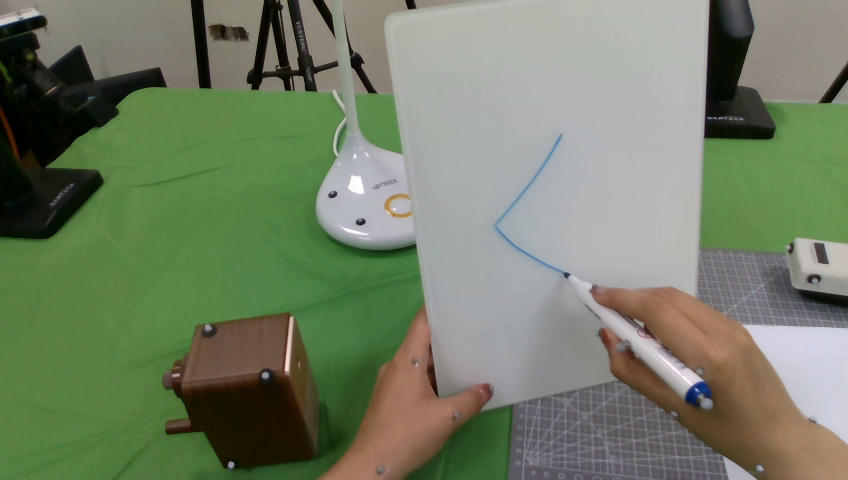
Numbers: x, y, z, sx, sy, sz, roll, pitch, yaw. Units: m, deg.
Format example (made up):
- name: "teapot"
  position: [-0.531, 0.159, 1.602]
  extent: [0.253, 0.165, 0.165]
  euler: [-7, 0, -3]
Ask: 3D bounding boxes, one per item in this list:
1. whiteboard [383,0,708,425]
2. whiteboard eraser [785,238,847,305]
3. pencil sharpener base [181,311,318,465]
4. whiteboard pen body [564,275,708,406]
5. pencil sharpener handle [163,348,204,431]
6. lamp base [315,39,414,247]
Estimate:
- name: "whiteboard"
  position: [0.089, -0.038, 0.496]
  extent: [0.217, 0.307, 0.142]
  euler: [-11, 22, -6]
- name: "whiteboard eraser"
  position: [0.389, 0.032, 0.542]
  extent: [0.112, 0.042, 0.055]
  euler: [10, 43, 16]
- name: "pencil sharpener base"
  position: [-0.125, 0.111, 0.447]
  extent: [0.077, 0.108, 0.060]
  euler: [-7, 41, -2]
- name: "whiteboard pen body"
  position: [0.130, 0.058, 0.395]
  extent: [0.017, 0.017, 0.139]
  euler: [-17, 32, -14]
- name: "pencil sharpener handle"
  position: [-0.177, 0.110, 0.434]
  extent: [0.031, 0.068, 0.035]
  euler: [-7, 28, -2]
- name: "lamp base"
  position: [-0.056, -0.110, 0.643]
  extent: [0.161, 0.182, 0.177]
  euler: [-29, 44, -26]
